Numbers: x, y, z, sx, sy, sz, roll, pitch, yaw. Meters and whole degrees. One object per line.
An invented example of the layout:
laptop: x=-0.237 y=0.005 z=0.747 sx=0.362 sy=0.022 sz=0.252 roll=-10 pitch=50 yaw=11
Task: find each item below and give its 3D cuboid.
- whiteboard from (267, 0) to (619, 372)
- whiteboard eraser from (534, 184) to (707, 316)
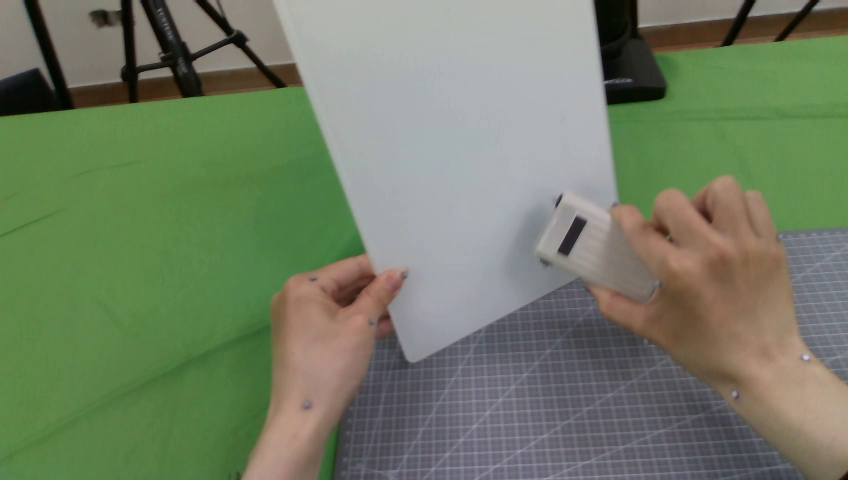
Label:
whiteboard: x=0.016 y=-0.092 z=0.496 sx=0.217 sy=0.308 sz=0.142 roll=-25 pitch=27 yaw=-13
whiteboard eraser: x=0.143 y=0.007 z=0.446 sx=0.112 sy=0.056 sz=0.041 roll=27 pitch=19 yaw=4
